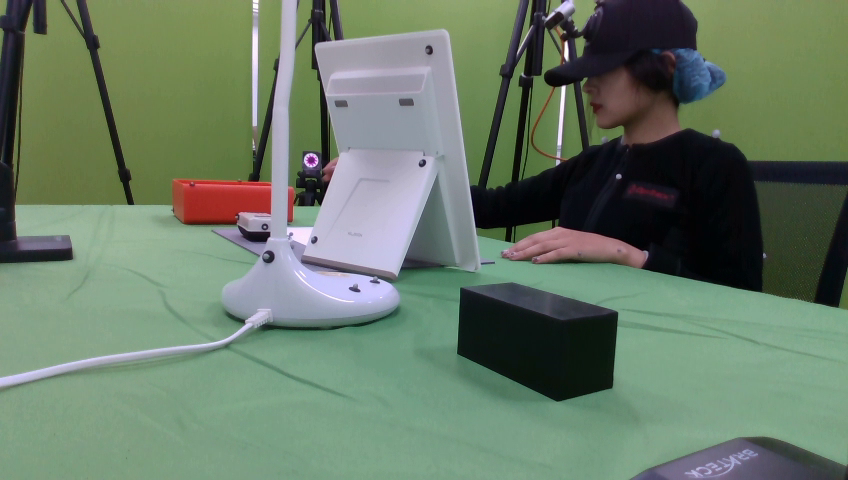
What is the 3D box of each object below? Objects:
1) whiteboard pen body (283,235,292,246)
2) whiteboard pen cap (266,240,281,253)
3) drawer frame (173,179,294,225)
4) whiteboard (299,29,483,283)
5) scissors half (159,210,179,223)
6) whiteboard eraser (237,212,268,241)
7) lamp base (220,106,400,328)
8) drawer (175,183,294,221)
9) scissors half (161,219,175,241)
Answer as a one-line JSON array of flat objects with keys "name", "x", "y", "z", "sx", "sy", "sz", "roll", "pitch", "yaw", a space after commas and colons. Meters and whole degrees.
[{"name": "whiteboard pen body", "x": -0.206, "y": 0.005, "z": 0.872, "sx": 0.017, "sy": 0.017, "sz": 0.140, "roll": 2, "pitch": 4, "yaw": -6}, {"name": "whiteboard pen cap", "x": -0.202, "y": 0.009, "z": 0.813, "sx": 0.018, "sy": 0.018, "sz": 0.033, "roll": 1, "pitch": 3, "yaw": -8}, {"name": "drawer frame", "x": -0.404, "y": -0.083, "z": 1.277, "sx": 0.215, "sy": 0.082, "sz": 0.200, "roll": -2, "pitch": 9, "yaw": -29}, {"name": "whiteboard", "x": -0.074, "y": -0.082, "z": 0.742, "sx": 0.216, "sy": 0.305, "sz": 0.144, "roll": 9, "pitch": 29, "yaw": 38}, {"name": "scissors half", "x": -0.507, "y": -0.066, "z": 1.256, "sx": 0.013, "sy": 0.040, "sz": 0.175, "roll": 3, "pitch": 22, "yaw": 4}, {"name": "whiteboard eraser", "x": -0.272, "y": -0.023, "z": 0.998, "sx": 0.056, "sy": 0.042, "sz": 0.112, "roll": -3, "pitch": 9, "yaw": -26}, {"name": "lamp base", "x": -0.102, "y": -0.023, "z": 0.531, "sx": 0.160, "sy": 0.180, "sz": 0.179, "roll": 4, "pitch": 10, "yaw": 10}, {"name": "drawer", "x": -0.402, "y": -0.082, "z": 1.279, "sx": 0.213, "sy": 0.073, "sz": 0.193, "roll": -2, "pitch": 10, "yaw": -28}, {"name": "scissors half", "x": -0.507, "y": -0.055, "z": 1.262, "sx": 0.013, "sy": 0.040, "sz": 0.175, "roll": 9, "pitch": 39, "yaw": 3}]
